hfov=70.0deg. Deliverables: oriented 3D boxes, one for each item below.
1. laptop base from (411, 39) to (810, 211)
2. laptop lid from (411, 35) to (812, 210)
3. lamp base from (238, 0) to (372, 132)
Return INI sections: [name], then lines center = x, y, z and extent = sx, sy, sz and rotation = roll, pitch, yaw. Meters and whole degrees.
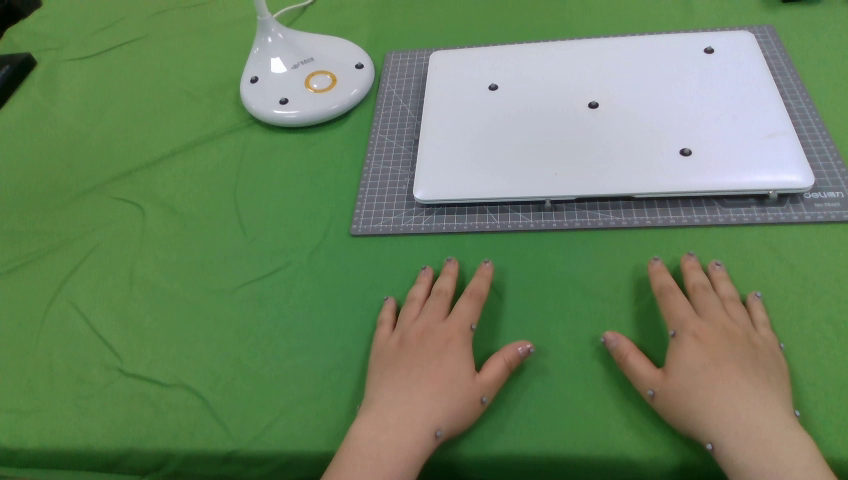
[laptop base]
center = 0.170, -0.119, 0.619
extent = 0.354, 0.023, 0.233
rotation = -2, 53, 8
[laptop lid]
center = 0.168, -0.125, 0.609
extent = 0.356, 0.013, 0.239
rotation = 0, 52, 9
[lamp base]
center = -0.160, -0.237, 0.668
extent = 0.177, 0.182, 0.160
rotation = 32, 61, 33
